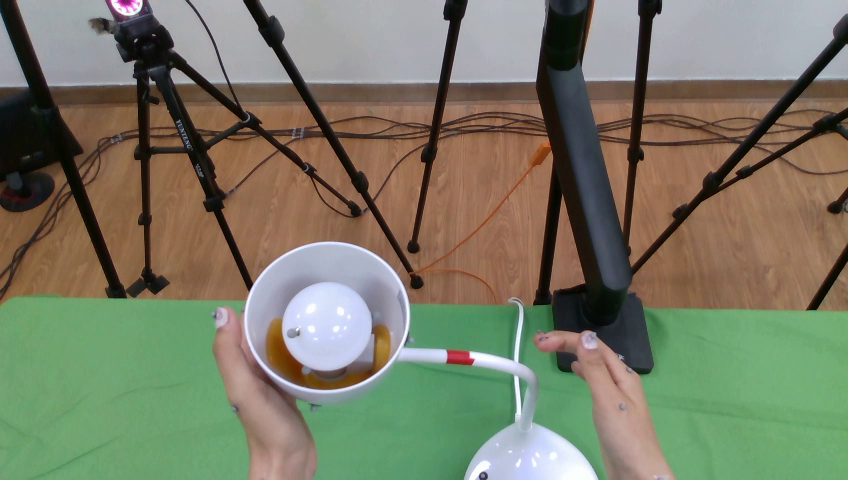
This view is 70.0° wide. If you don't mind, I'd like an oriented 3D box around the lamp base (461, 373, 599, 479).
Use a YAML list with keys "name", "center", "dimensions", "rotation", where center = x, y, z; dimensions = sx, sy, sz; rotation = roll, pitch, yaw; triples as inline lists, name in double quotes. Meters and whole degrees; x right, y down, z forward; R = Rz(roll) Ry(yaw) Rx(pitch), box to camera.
- name: "lamp base"
  center: [0.113, 0.230, 0.635]
  dimensions: [0.161, 0.182, 0.177]
  rotation: [-11, 51, -4]

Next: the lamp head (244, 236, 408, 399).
- name: "lamp head"
  center: [-0.067, 0.072, 0.462]
  dimensions: [0.112, 0.124, 0.111]
  rotation: [1, 62, -1]

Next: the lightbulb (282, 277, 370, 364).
- name: "lightbulb"
  center: [-0.070, 0.064, 0.437]
  dimensions: [0.059, 0.108, 0.059]
  rotation: [3, 67, -7]
